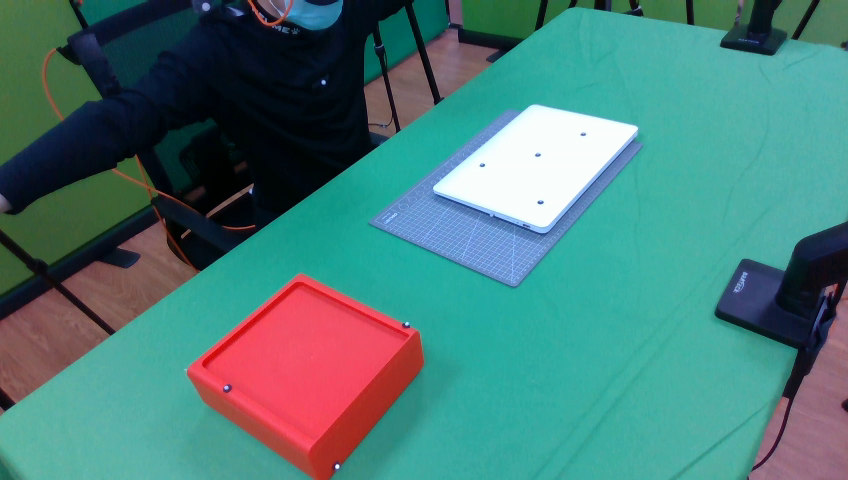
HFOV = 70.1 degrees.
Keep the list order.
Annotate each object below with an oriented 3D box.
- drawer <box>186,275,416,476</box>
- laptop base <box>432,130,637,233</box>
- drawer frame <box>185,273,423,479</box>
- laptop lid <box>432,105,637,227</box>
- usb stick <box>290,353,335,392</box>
[{"bbox_3d":[-0.149,0.158,0.759,0.210,0.073,0.195,22,47,30],"label":"drawer"},{"bbox_3d":[0.210,-0.142,1.111,0.233,0.023,0.355,21,47,34],"label":"laptop base"},{"bbox_3d":[-0.145,0.158,0.760,0.212,0.083,0.202,22,47,28],"label":"drawer frame"},{"bbox_3d":[0.207,-0.152,1.104,0.239,0.013,0.358,23,49,34],"label":"laptop lid"},{"bbox_3d":[-0.146,0.172,0.774,0.059,0.027,0.021,-29,44,-24],"label":"usb stick"}]
